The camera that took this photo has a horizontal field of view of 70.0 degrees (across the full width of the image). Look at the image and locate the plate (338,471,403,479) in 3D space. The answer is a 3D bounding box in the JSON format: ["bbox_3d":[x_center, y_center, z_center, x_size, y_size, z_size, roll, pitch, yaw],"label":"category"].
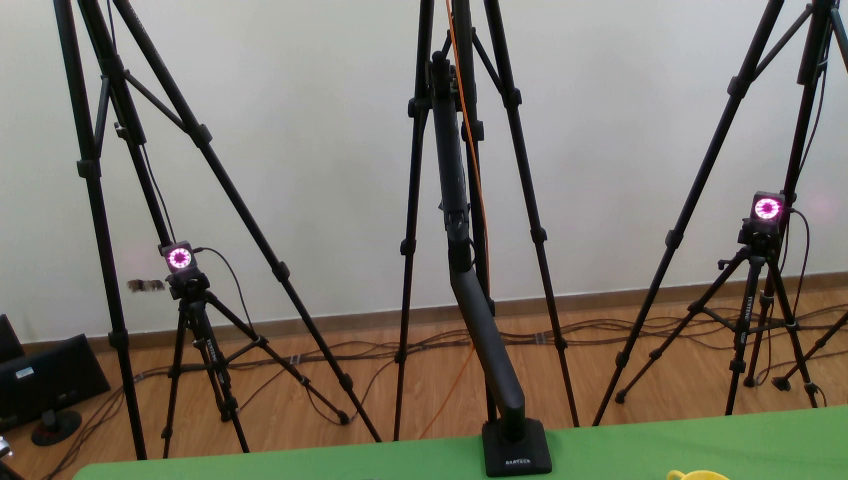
[{"bbox_3d":[-0.099,0.481,1.006,0.207,0.039,0.206,-4,31,3],"label":"plate"}]

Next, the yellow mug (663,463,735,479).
[{"bbox_3d":[0.445,0.415,0.987,0.100,0.064,0.129,-23,33,-24],"label":"yellow mug"}]
